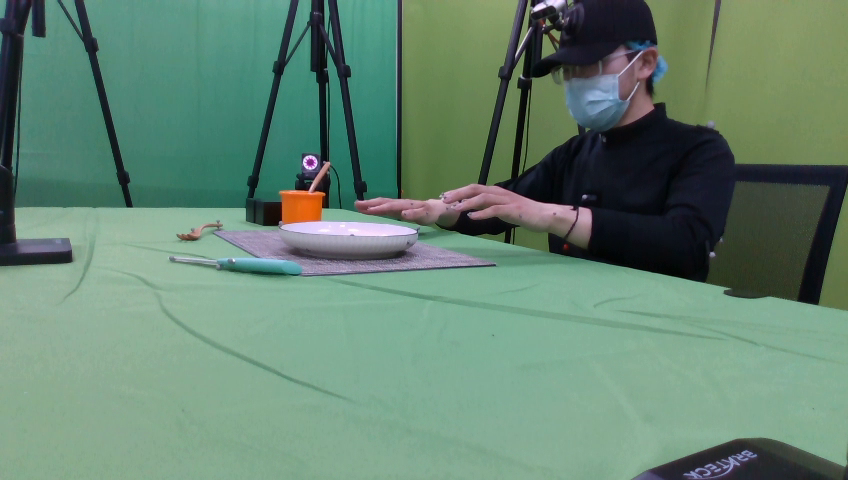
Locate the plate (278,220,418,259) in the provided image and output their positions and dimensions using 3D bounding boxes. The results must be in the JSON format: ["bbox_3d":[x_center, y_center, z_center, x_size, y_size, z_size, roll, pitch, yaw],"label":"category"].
[{"bbox_3d":[-0.114,-0.002,0.914,0.209,0.038,0.209,2,7,0],"label":"plate"}]

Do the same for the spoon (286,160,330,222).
[{"bbox_3d":[-0.233,-0.101,1.252,0.041,0.193,0.022,3,-38,23],"label":"spoon"}]

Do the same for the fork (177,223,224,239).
[{"bbox_3d":[-0.386,-0.019,1.062,0.028,0.018,0.207,-3,9,-1],"label":"fork"}]

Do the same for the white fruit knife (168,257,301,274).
[{"bbox_3d":[-0.243,0.029,0.749,0.206,0.016,0.027,2,-17,26],"label":"white fruit knife"}]
